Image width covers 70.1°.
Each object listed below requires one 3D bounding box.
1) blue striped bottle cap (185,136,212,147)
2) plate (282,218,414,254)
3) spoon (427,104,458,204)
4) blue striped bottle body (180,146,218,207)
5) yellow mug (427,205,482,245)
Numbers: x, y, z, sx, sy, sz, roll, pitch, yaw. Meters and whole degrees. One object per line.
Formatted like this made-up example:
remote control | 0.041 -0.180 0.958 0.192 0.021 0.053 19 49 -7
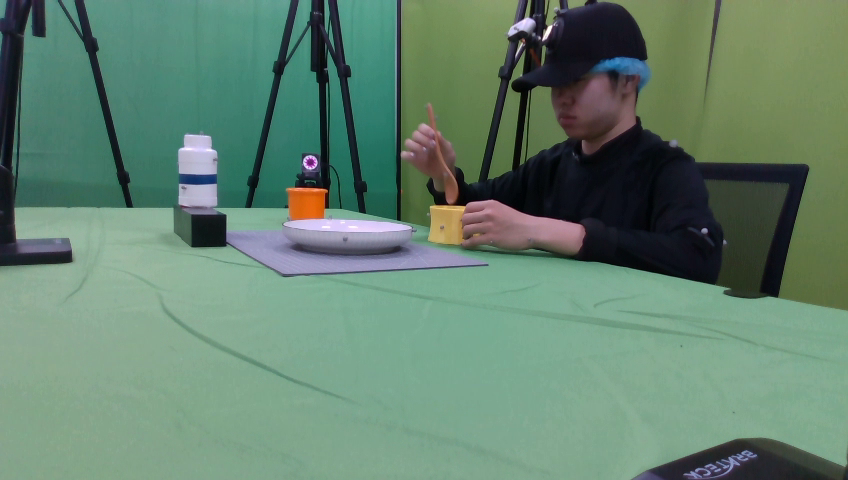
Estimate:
blue striped bottle cap | -0.390 -0.169 1.047 0.044 0.020 0.044 4 10 0
plate | -0.121 -0.007 0.971 0.208 0.039 0.207 2 7 0
spoon | 0.032 -0.163 1.138 0.022 0.193 0.041 -18 3 -28
blue striped bottle body | -0.392 -0.119 1.053 0.063 0.120 0.063 2 8 0
yellow mug | 0.062 -0.028 1.111 0.100 0.064 0.130 0 8 -20
